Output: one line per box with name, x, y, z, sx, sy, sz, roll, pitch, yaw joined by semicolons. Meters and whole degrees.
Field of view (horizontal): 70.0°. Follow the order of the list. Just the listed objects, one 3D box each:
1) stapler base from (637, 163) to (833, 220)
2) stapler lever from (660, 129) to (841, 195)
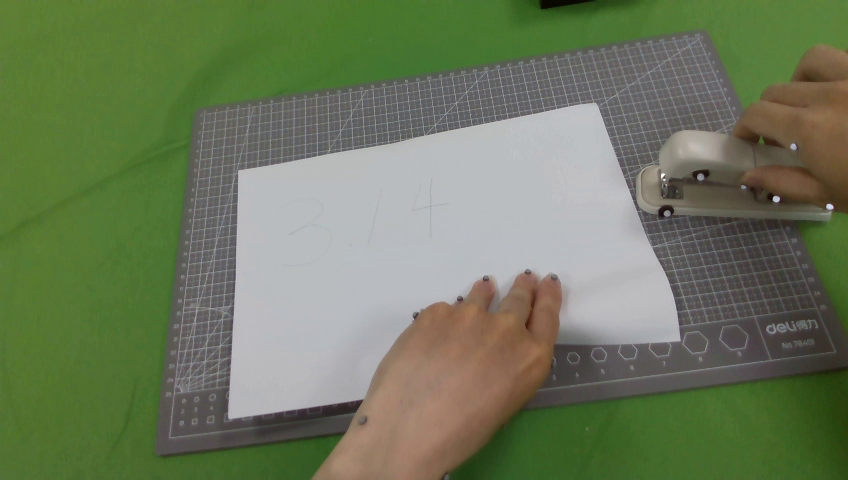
stapler base;0.221;-0.040;0.428;0.130;0.024;0.041;4;64;7
stapler lever;0.220;-0.052;0.406;0.118;0.040;0.026;4;64;7
